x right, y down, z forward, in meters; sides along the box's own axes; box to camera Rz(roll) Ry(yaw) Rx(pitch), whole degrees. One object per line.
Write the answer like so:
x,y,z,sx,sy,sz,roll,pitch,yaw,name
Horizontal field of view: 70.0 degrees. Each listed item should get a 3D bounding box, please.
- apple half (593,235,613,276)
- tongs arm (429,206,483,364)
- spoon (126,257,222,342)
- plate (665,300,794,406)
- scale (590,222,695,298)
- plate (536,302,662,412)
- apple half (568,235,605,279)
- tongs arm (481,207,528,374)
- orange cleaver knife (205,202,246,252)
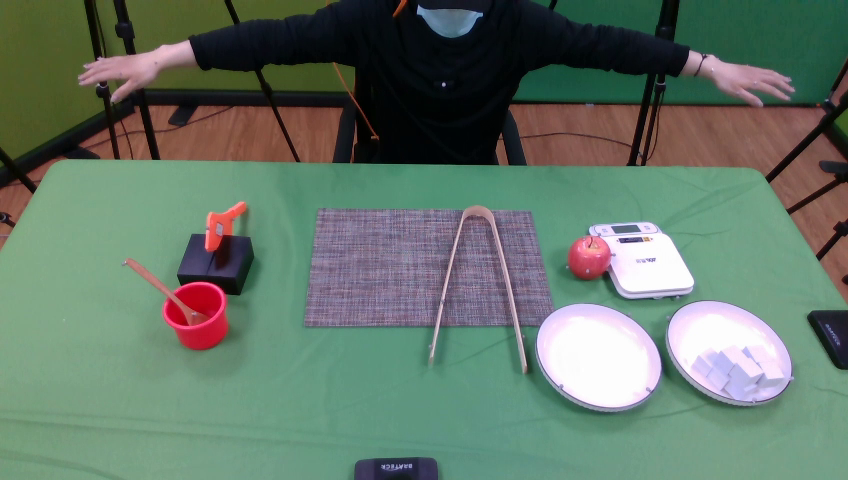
0.340,0.029,1.155,0.033,0.082,0.080,-10,47,-8,apple half
0.064,0.069,1.124,0.051,0.026,0.382,8,45,5,tongs arm
-0.408,0.096,0.990,0.194,0.021,0.041,50,53,-18,spoon
0.513,0.194,1.034,0.208,0.039,0.206,2,46,-2,plate
0.424,0.031,1.189,0.149,0.032,0.199,-3,46,-7,scale
0.288,0.197,1.016,0.209,0.038,0.208,2,46,-2,plate
0.302,0.035,1.148,0.053,0.075,0.080,-9,51,-8,apple half
0.149,0.077,1.124,0.028,0.028,0.385,-4,46,-2,tongs arm
-0.374,-0.029,1.150,0.012,0.077,0.211,4,13,0,orange cleaver knife
